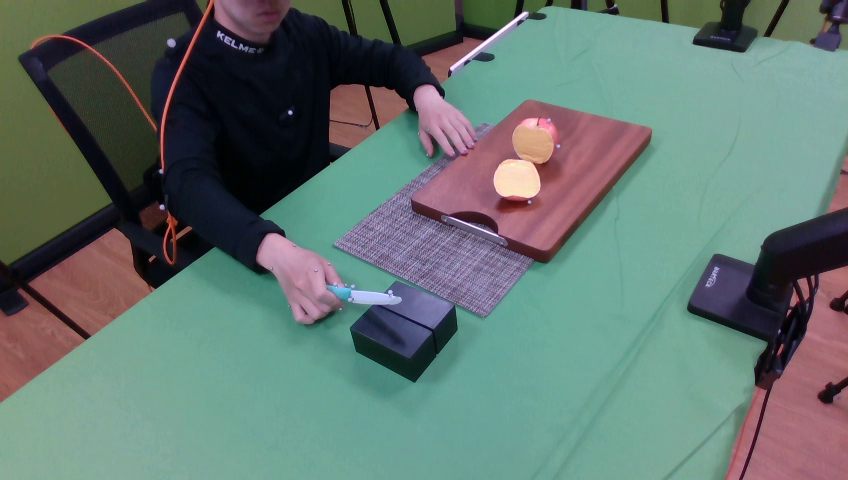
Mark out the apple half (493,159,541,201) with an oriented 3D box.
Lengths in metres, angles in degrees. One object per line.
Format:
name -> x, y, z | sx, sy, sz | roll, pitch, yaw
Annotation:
apple half -> 0.153, -0.095, 0.999 | 0.081, 0.033, 0.081 | -1, 64, 2

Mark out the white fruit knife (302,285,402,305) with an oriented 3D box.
white fruit knife -> -0.103, 0.075, 0.828 | 0.206, 0.027, 0.016 | -1, 32, 42

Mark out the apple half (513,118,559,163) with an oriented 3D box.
apple half -> 0.202, -0.180, 1.066 | 0.080, 0.075, 0.053 | 14, 41, 29
